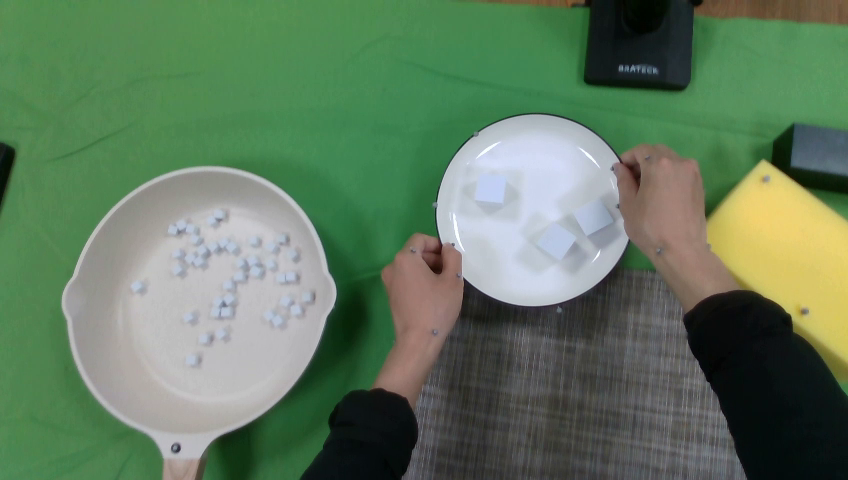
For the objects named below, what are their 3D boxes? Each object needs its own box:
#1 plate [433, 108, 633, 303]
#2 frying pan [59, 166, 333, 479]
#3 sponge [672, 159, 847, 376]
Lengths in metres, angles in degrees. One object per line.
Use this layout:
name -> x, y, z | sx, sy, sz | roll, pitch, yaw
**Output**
plate -> 0.114, -0.036, 0.651 | 0.207, 0.039, 0.207 | -1, 84, 7
frying pan -> -0.248, 0.161, 0.645 | 0.306, 0.103, 0.484 | -1, 70, 6
sponge -> 0.386, 0.028, 0.630 | 0.206, 0.061, 0.118 | 41, 83, 13
